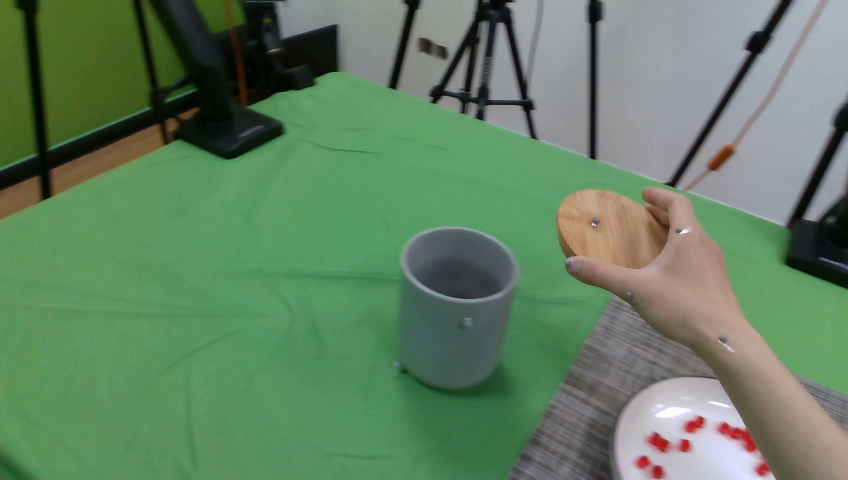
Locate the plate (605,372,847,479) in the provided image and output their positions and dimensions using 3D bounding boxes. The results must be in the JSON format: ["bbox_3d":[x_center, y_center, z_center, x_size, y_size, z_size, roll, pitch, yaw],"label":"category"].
[{"bbox_3d":[0.250,0.200,0.497,0.208,0.039,0.205,5,38,-3],"label":"plate"}]

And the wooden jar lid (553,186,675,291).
[{"bbox_3d":[0.158,0.000,0.510,0.109,0.021,0.107,10,51,-12],"label":"wooden jar lid"}]

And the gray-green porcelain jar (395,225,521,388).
[{"bbox_3d":[0.027,0.067,0.568,0.106,0.127,0.105,4,38,-3],"label":"gray-green porcelain jar"}]
